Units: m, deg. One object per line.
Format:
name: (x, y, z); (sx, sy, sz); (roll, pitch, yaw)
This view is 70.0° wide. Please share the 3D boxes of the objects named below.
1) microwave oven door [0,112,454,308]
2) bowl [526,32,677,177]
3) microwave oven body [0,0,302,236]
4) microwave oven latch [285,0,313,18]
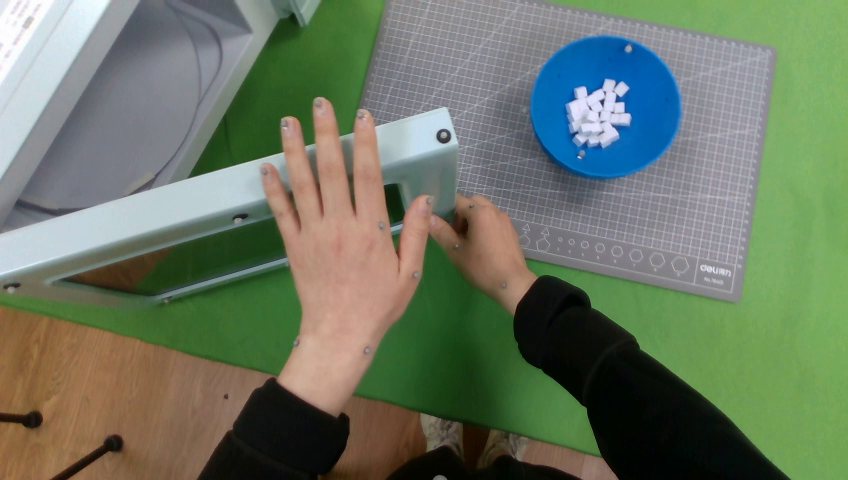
microwave oven door: (-0.147, -0.013, 0.532); (0.356, 0.244, 0.039); (-16, 80, -1)
bowl: (0.179, -0.132, 0.641); (0.151, 0.077, 0.151); (0, 81, 2)
microwave oven body: (-0.345, -0.217, 0.573); (0.325, 0.261, 0.441); (26, 83, 5)
microwave oven latch: (-0.130, -0.293, 0.678); (0.030, 0.029, 0.079); (28, 83, 5)
